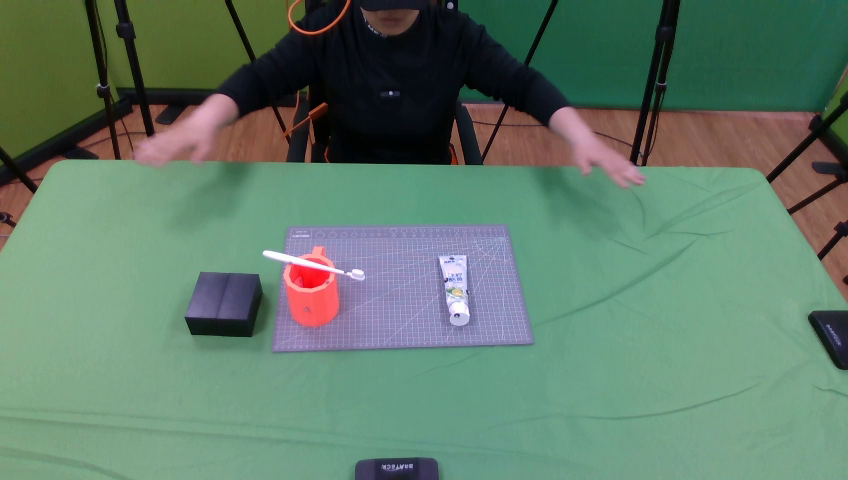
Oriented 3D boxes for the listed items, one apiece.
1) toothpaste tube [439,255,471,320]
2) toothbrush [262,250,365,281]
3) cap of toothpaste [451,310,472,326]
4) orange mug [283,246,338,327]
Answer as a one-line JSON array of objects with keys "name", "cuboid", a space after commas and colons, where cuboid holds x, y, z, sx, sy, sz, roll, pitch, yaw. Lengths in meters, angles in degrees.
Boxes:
[{"name": "toothpaste tube", "cuboid": [0.062, 0.084, 1.113, 0.055, 0.035, 0.164, 2, 41, -7]}, {"name": "toothbrush", "cuboid": [-0.187, 0.040, 1.015, 0.182, 0.017, 0.014, 13, 55, 8]}, {"name": "cap of toothpaste", "cuboid": [0.065, 0.134, 1.054, 0.037, 0.037, 0.011, 1, 39, -2]}, {"name": "orange mug", "cuboid": [-0.193, 0.073, 1.056, 0.083, 0.101, 0.125, 5, 50, 1]}]
